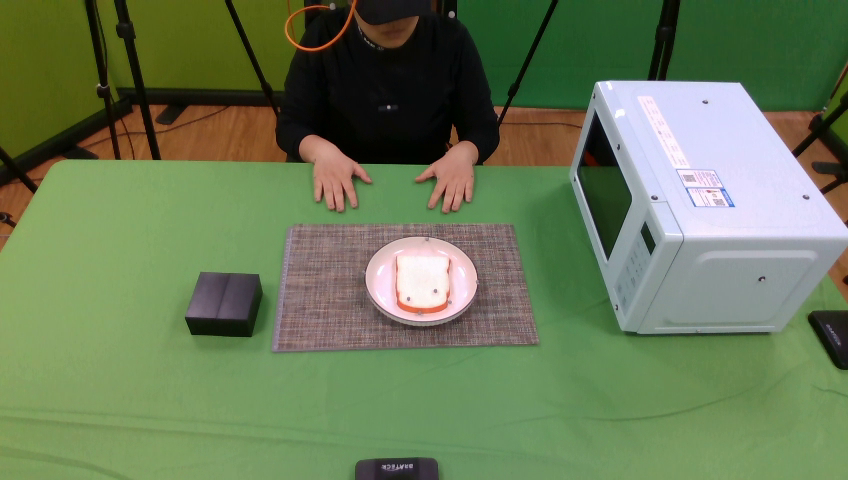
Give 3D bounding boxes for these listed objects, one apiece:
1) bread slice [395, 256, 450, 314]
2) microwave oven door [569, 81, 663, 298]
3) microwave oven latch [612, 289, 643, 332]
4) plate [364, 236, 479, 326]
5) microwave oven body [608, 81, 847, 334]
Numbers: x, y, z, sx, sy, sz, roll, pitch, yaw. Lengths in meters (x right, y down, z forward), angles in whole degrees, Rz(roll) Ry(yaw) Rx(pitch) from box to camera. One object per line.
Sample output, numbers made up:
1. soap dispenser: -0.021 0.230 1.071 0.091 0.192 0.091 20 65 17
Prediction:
1. bread slice: -0.001 0.079 1.109 0.105 0.019 0.130 1 45 -2
2. microwave oven door: 0.353 -0.103 1.147 0.039 0.245 0.353 0 46 -4
3. microwave oven latch: 0.357 0.124 1.068 0.030 0.029 0.078 0 45 -3
4. plate: -0.004 0.078 1.107 0.209 0.038 0.208 2 45 -2
5. microwave oven body: 0.501 -0.070 1.132 0.326 0.261 0.438 -1 45 -4
